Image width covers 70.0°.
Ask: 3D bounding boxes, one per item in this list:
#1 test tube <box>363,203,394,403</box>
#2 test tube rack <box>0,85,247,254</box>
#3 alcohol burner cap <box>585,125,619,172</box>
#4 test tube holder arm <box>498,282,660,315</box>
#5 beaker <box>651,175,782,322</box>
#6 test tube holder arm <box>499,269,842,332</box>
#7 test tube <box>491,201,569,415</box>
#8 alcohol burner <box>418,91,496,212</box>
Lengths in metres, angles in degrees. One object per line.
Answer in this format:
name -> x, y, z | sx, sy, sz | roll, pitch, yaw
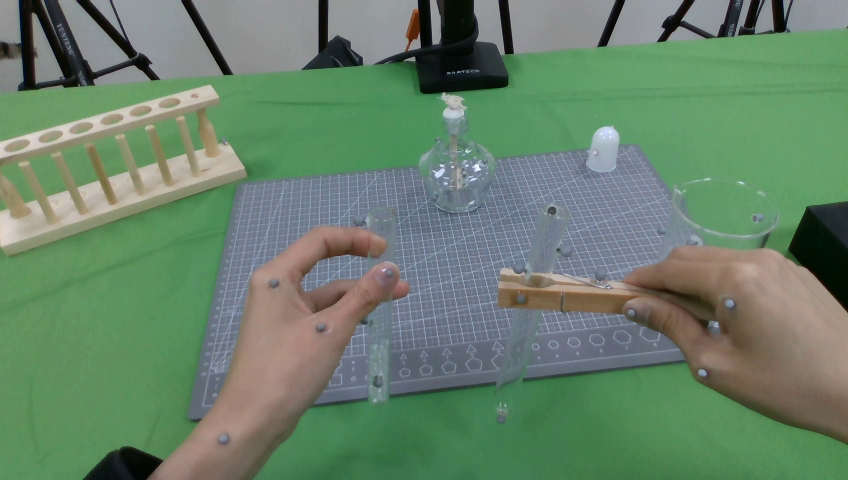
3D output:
test tube -> -0.027, 0.045, 0.370 | 0.017, 0.151, 0.017 | 2, 33, -1
test tube rack -> -0.319, -0.078, 0.626 | 0.243, 0.086, 0.066 | -22, 45, -21
alcohol burner cap -> 0.192, -0.101, 0.650 | 0.034, 0.048, 0.033 | -2, 42, 2
test tube holder arm -> 0.085, 0.033, 0.339 | 0.088, 0.015, 0.010 | 1, 37, 6
beaker -> 0.222, 0.008, 0.481 | 0.074, 0.101, 0.083 | -26, 46, -24
test tube holder arm -> 0.131, 0.033, 0.336 | 0.178, 0.015, 0.013 | 5, 38, 11
test tube -> 0.060, 0.047, 0.356 | 0.017, 0.151, 0.017 | 7, 30, -3
alcohol burner -> 0.031, -0.088, 0.591 | 0.078, 0.120, 0.077 | -3, 40, 3
